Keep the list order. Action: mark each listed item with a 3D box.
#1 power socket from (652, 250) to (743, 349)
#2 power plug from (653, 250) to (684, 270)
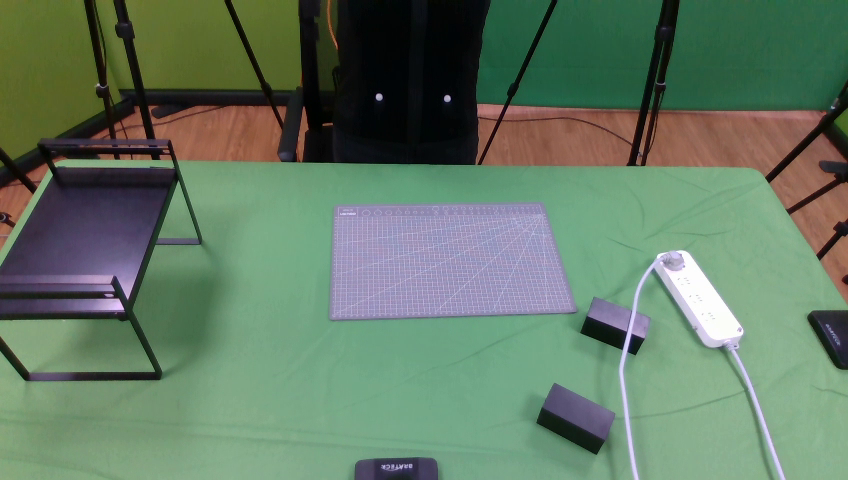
[{"bbox_3d":[0.503,0.104,1.127,0.072,0.033,0.225,-8,48,-11],"label":"power socket"},{"bbox_3d":[0.459,0.041,1.155,0.072,0.053,0.035,-1,46,-5],"label":"power plug"}]
